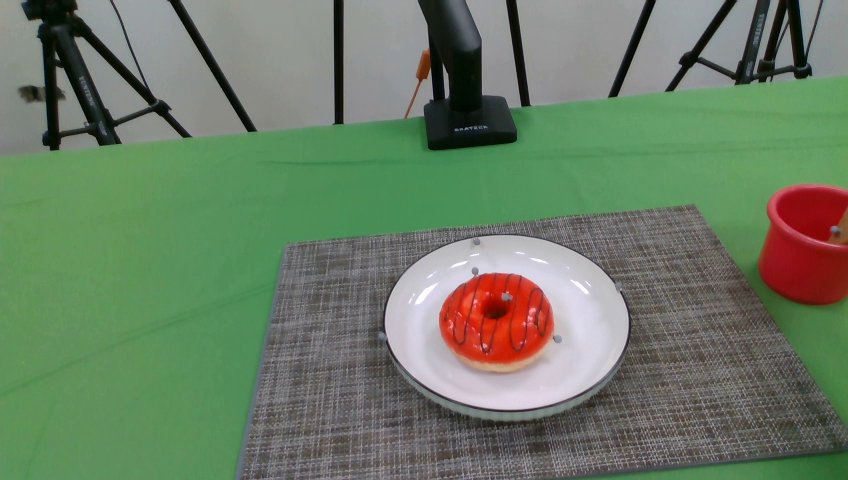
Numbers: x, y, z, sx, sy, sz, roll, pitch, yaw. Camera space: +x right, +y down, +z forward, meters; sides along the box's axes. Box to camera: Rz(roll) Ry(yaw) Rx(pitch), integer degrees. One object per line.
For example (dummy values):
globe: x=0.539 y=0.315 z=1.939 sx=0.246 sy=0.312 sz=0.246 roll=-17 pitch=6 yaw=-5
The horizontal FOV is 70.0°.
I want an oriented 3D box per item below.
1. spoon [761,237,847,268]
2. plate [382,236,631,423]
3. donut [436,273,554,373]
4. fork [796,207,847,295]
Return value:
spoon: x=0.371 y=0.000 z=0.503 sx=0.041 sy=0.193 sz=0.021 roll=-37 pitch=94 yaw=-24
plate: x=0.070 y=0.074 z=0.526 sx=0.209 sy=0.038 sz=0.207 roll=-3 pitch=39 yaw=3
donut: x=0.060 y=0.070 z=0.515 sx=0.099 sy=0.049 sz=0.098 roll=-4 pitch=42 yaw=4
fork: x=0.393 y=-0.041 z=0.541 sx=0.019 sy=0.207 sz=0.028 roll=25 pitch=3 yaw=-14
